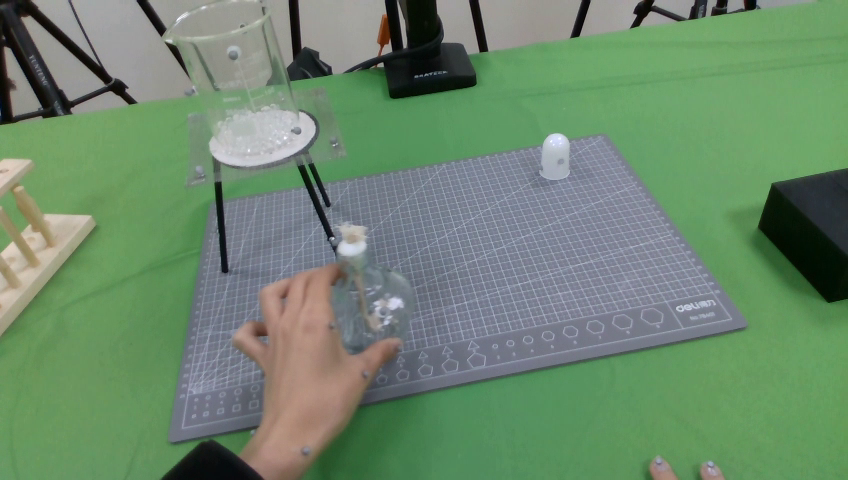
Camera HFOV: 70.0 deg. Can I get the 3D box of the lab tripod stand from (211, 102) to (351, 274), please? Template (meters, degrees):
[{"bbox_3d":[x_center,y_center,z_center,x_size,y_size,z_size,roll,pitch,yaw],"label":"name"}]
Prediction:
[{"bbox_3d":[-0.130,-0.043,0.545,0.148,0.133,0.147,-4,44,4],"label":"lab tripod stand"}]

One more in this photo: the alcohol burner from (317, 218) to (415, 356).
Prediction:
[{"bbox_3d":[-0.047,0.032,0.465,0.078,0.120,0.077,-5,40,4],"label":"alcohol burner"}]

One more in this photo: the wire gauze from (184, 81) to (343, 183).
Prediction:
[{"bbox_3d":[-0.136,-0.091,0.501,0.125,0.011,0.120,-16,40,-6],"label":"wire gauze"}]

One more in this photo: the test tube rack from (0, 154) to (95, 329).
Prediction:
[{"bbox_3d":[-0.413,0.026,0.549,0.066,0.086,0.240,3,43,11],"label":"test tube rack"}]

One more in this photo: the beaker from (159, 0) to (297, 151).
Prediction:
[{"bbox_3d":[-0.145,-0.126,0.468,0.084,0.101,0.073,-15,42,-7],"label":"beaker"}]

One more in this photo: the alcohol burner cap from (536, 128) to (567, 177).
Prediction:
[{"bbox_3d":[0.135,-0.094,0.635,0.034,0.048,0.033,-4,42,4],"label":"alcohol burner cap"}]
